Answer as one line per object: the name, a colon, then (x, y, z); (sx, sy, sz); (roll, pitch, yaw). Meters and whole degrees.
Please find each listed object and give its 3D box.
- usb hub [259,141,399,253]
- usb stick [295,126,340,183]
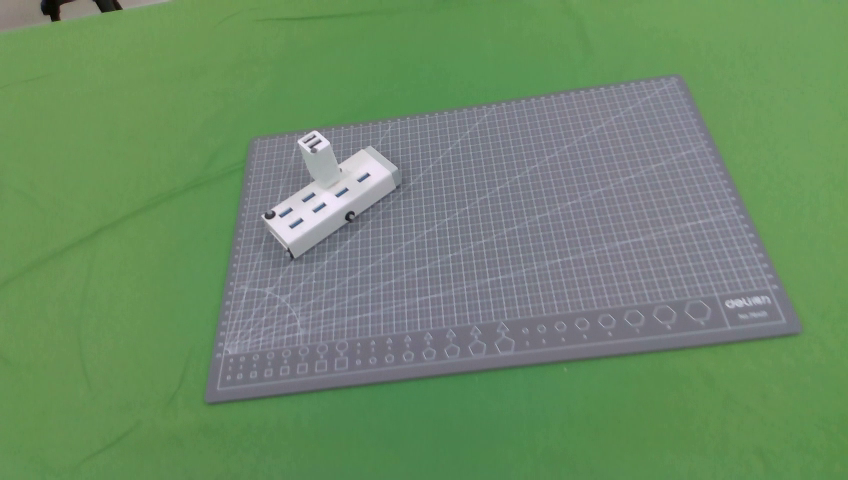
usb hub: (-0.087, -0.043, 0.563); (0.125, 0.025, 0.049); (-37, 56, -18)
usb stick: (-0.094, -0.072, 0.550); (0.021, 0.060, 0.027); (-39, 55, -18)
